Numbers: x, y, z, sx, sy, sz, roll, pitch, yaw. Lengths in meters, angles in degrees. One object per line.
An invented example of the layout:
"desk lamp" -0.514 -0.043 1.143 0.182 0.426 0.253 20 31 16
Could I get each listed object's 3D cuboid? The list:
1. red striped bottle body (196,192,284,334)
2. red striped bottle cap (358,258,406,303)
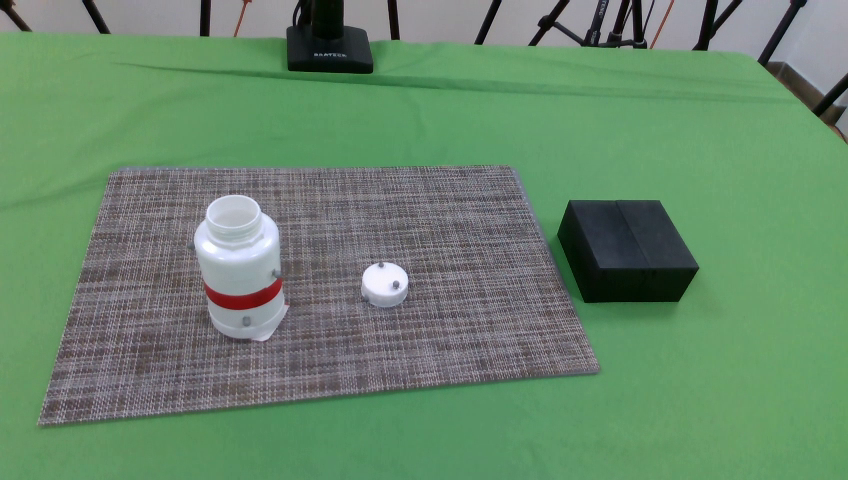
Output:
"red striped bottle body" -0.149 0.018 0.496 0.063 0.120 0.062 5 44 -4
"red striped bottle cap" -0.039 0.038 0.569 0.045 0.018 0.044 10 42 -8
